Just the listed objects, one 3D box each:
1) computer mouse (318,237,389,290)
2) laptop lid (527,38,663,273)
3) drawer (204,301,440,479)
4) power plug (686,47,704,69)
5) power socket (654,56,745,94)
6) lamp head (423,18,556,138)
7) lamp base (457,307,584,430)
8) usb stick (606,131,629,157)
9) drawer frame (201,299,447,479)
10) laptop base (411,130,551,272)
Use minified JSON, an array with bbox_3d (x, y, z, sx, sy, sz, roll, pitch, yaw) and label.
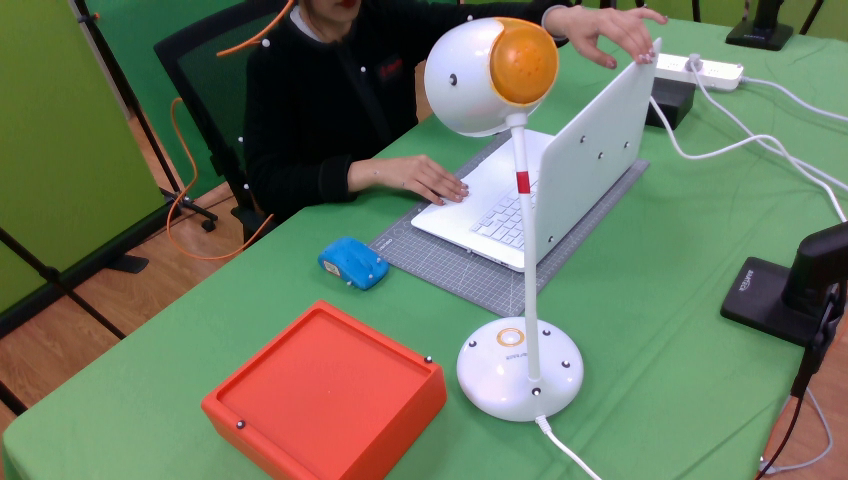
[{"bbox_3d":[-0.113,0.033,0.959,0.116,0.041,0.063,28,51,31],"label":"computer mouse"},{"bbox_3d":[0.260,-0.128,0.905,0.013,0.242,0.358,28,51,29],"label":"laptop lid"},{"bbox_3d":[-0.120,0.193,0.735,0.210,0.073,0.195,23,49,32],"label":"drawer"},{"bbox_3d":[0.564,-0.384,1.247,0.035,0.073,0.052,22,72,15],"label":"power plug"},{"bbox_3d":[0.563,-0.358,1.295,0.225,0.033,0.072,21,50,30],"label":"power socket"},{"bbox_3d":[0.069,-0.151,0.563,0.113,0.113,0.122,-21,18,-13],"label":"lamp head"},{"bbox_3d":[0.115,0.108,0.713,0.161,0.181,0.178,-17,43,-8],"label":"lamp base"},{"bbox_3d":[0.353,-0.175,1.109,0.021,0.027,0.059,25,52,31],"label":"usb stick"},{"bbox_3d":[-0.117,0.193,0.733,0.212,0.083,0.202,23,48,31],"label":"drawer frame"},{"bbox_3d":[0.175,-0.083,1.055,0.233,0.023,0.355,21,49,36],"label":"laptop base"}]
